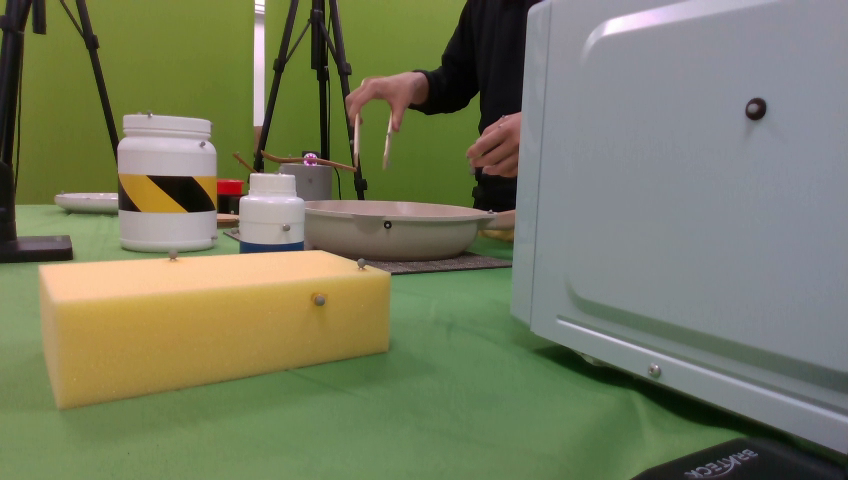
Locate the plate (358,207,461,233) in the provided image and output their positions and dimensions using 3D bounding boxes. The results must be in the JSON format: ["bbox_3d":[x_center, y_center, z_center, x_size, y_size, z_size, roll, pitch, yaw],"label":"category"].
[{"bbox_3d":[-0.030,-0.041,1.213,0.208,0.039,0.207,3,6,0],"label":"plate"}]

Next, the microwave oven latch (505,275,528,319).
[{"bbox_3d":[0.100,0.041,0.471,0.079,0.029,0.030,-1,7,-28],"label":"microwave oven latch"}]

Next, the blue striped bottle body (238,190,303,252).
[{"bbox_3d":[-0.153,-0.007,0.606,0.063,0.120,0.063,2,8,0],"label":"blue striped bottle body"}]

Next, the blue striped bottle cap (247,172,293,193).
[{"bbox_3d":[-0.152,-0.057,0.598,0.044,0.020,0.044,3,6,0],"label":"blue striped bottle cap"}]

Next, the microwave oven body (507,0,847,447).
[{"bbox_3d":[0.331,-0.042,0.425,0.444,0.260,0.324,-2,8,-31],"label":"microwave oven body"}]

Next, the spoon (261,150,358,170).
[{"bbox_3d":[-0.229,-0.161,1.222,0.194,0.021,0.041,3,3,-16],"label":"spoon"}]

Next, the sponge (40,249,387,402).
[{"bbox_3d":[-0.142,0.047,0.420,0.208,0.061,0.117,-3,8,-36],"label":"sponge"}]

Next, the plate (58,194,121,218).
[{"bbox_3d":[-0.671,-0.074,1.310,0.209,0.038,0.209,2,8,0],"label":"plate"}]

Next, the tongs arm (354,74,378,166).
[{"bbox_3d":[-0.107,-0.231,1.104,0.028,0.028,0.386,-5,33,2],"label":"tongs arm"}]

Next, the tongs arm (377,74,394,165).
[{"bbox_3d":[-0.078,-0.231,1.105,0.051,0.026,0.384,0,33,2],"label":"tongs arm"}]

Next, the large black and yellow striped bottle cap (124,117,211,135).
[{"bbox_3d":[-0.366,-0.163,0.866,0.115,0.019,0.115,3,7,0],"label":"large black and yellow striped bottle cap"}]

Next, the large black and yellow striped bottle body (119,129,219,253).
[{"bbox_3d":[-0.367,-0.080,0.876,0.131,0.184,0.130,1,7,0],"label":"large black and yellow striped bottle body"}]

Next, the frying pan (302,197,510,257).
[{"bbox_3d":[0.051,-0.035,0.915,0.487,0.102,0.307,-5,7,11],"label":"frying pan"}]

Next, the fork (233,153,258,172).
[{"bbox_3d":[-0.396,-0.143,1.486,0.028,0.018,0.208,20,-26,45],"label":"fork"}]

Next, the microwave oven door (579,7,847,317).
[{"bbox_3d":[0.294,-0.067,0.570,0.358,0.243,0.039,-3,9,-31],"label":"microwave oven door"}]

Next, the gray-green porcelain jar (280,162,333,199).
[{"bbox_3d":[-0.238,-0.092,1.221,0.106,0.126,0.106,2,7,0],"label":"gray-green porcelain jar"}]

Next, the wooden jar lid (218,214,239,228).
[{"bbox_3d":[-0.404,-0.037,1.169,0.108,0.020,0.108,3,7,0],"label":"wooden jar lid"}]
